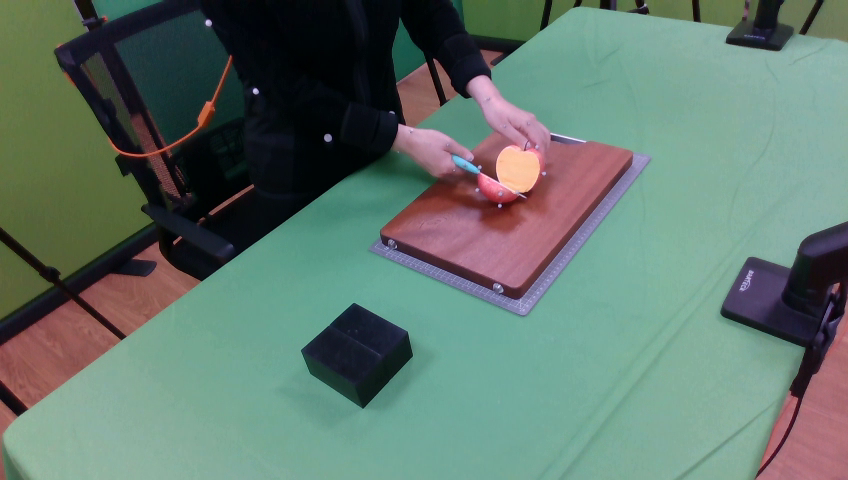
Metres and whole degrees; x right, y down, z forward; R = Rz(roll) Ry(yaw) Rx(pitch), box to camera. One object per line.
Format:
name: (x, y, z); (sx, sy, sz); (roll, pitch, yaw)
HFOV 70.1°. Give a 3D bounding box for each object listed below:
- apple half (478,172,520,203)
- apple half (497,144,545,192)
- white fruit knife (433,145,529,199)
apple half: (0.119, -0.079, 0.990); (0.080, 0.082, 0.033); (36, 99, 40)
apple half: (0.167, -0.122, 1.014); (0.080, 0.075, 0.053); (14, 20, 28)
white fruit knife: (0.091, -0.115, 1.012); (0.206, 0.016, 0.027); (32, 11, 29)
